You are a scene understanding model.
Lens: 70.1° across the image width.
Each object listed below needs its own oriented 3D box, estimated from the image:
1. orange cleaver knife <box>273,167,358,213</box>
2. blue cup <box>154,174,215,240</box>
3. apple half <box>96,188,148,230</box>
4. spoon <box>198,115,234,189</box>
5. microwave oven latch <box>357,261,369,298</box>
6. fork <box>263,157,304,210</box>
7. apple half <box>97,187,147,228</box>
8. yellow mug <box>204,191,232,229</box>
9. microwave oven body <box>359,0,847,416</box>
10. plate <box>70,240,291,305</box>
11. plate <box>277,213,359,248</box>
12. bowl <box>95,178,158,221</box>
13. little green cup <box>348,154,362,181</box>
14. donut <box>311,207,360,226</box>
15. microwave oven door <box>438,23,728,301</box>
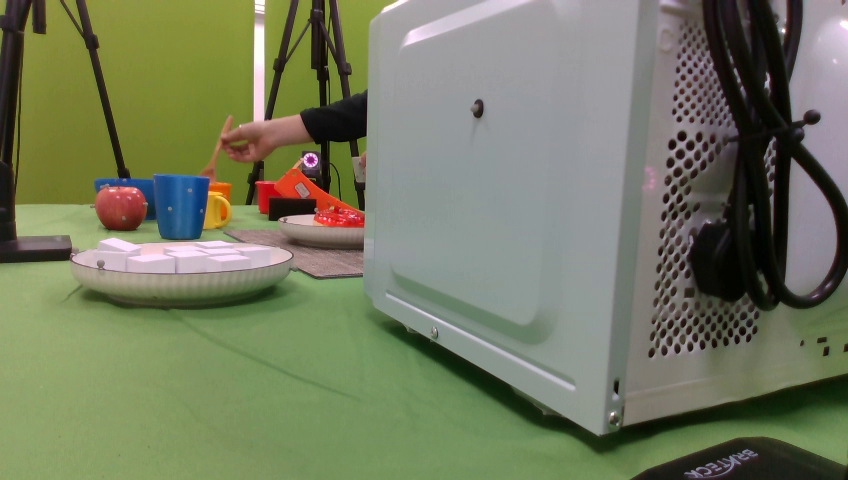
[{"bbox_3d":[-0.238,-0.091,1.381,0.212,0.077,0.012,31,0,-19],"label":"orange cleaver knife"},{"bbox_3d":[-0.391,-0.053,0.978,0.093,0.100,0.092,4,6,0],"label":"blue cup"},{"bbox_3d":[-0.517,-0.052,1.036,0.081,0.074,0.053,3,10,-26],"label":"apple half"},{"bbox_3d":[-0.449,-0.191,1.315,0.042,0.193,0.021,16,-18,-4],"label":"spoon"},{"bbox_3d":[-0.019,0.033,0.530,0.079,0.029,0.030,0,7,-25],"label":"microwave oven latch"},{"bbox_3d":[-0.345,-0.143,1.505,0.028,0.019,0.207,-4,46,28],"label":"fork"},{"bbox_3d":[-0.534,-0.059,1.071,0.082,0.081,0.032,-1,11,-25],"label":"apple half"},{"bbox_3d":[-0.415,-0.057,1.131,0.130,0.064,0.100,6,7,16],"label":"yellow mug"},{"bbox_3d":[0.211,-0.047,0.474,0.444,0.260,0.324,-1,7,-28],"label":"microwave oven body"},{"bbox_3d":[-0.242,0.031,0.618,0.208,0.039,0.207,2,8,0],"label":"plate"},{"bbox_3d":[-0.134,-0.017,0.992,0.209,0.038,0.209,3,8,0],"label":"plate"},{"bbox_3d":[-0.576,-0.081,1.217,0.151,0.077,0.151,3,8,0],"label":"bowl"},{"bbox_3d":[-0.083,-0.116,0.928,0.061,0.038,0.061,-15,10,3],"label":"little green cup"},{"bbox_3d":[-0.137,-0.029,0.995,0.099,0.048,0.099,4,8,0],"label":"donut"},{"bbox_3d":[0.181,-0.072,0.620,0.358,0.243,0.039,-2,8,-29],"label":"microwave oven door"}]
